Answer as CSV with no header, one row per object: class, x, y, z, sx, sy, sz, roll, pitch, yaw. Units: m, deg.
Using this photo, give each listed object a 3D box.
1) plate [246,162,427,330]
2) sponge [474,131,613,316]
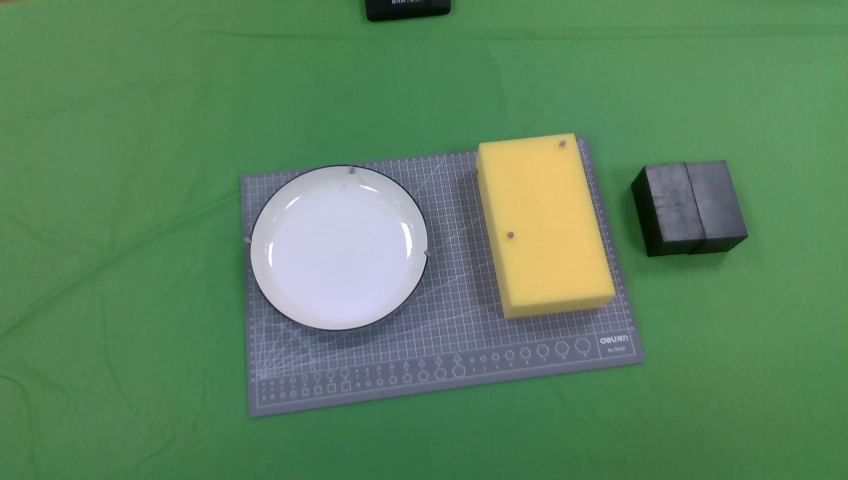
plate,-0.101,0.008,0.717,0.209,0.038,0.207,1,70,-1
sponge,0.136,-0.021,0.721,0.118,0.061,0.205,-8,70,-4
